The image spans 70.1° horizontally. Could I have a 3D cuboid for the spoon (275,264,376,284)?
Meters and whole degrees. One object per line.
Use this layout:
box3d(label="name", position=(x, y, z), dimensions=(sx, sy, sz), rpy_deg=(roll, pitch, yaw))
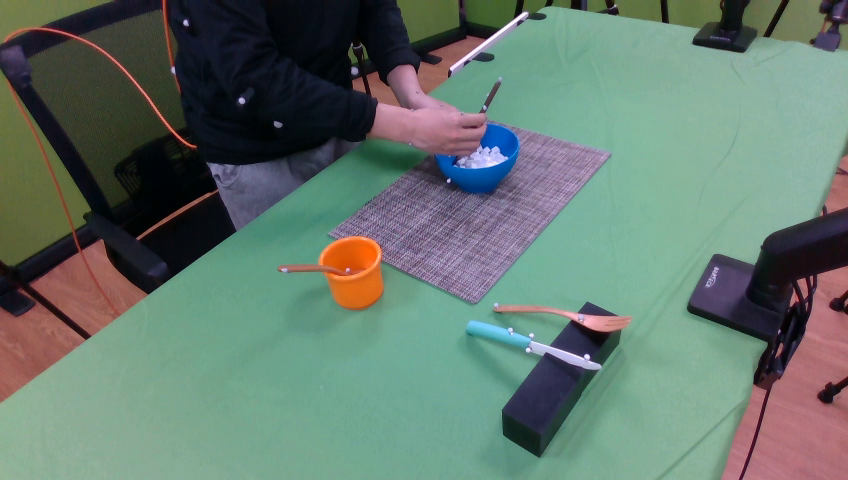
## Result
box3d(label="spoon", position=(-0.133, 0.044, 0.839), dimensions=(0.041, 0.195, 0.021), rpy_deg=(24, 95, 33))

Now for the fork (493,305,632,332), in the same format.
box3d(label="fork", position=(0.171, 0.097, 0.783), dimensions=(0.205, 0.019, 0.028), rpy_deg=(4, 41, 43))

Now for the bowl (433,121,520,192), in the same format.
box3d(label="bowl", position=(0.094, -0.137, 1.064), dimensions=(0.151, 0.077, 0.150), rpy_deg=(-4, 41, 4))

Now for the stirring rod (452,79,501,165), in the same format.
box3d(label="stirring rod", position=(0.087, -0.196, 1.029), dimensions=(0.006, 0.176, 0.014), rpy_deg=(42, 38, 17))

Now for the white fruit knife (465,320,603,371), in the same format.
box3d(label="white fruit knife", position=(0.128, 0.129, 0.749), dimensions=(0.205, 0.027, 0.016), rpy_deg=(10, 44, 43))
